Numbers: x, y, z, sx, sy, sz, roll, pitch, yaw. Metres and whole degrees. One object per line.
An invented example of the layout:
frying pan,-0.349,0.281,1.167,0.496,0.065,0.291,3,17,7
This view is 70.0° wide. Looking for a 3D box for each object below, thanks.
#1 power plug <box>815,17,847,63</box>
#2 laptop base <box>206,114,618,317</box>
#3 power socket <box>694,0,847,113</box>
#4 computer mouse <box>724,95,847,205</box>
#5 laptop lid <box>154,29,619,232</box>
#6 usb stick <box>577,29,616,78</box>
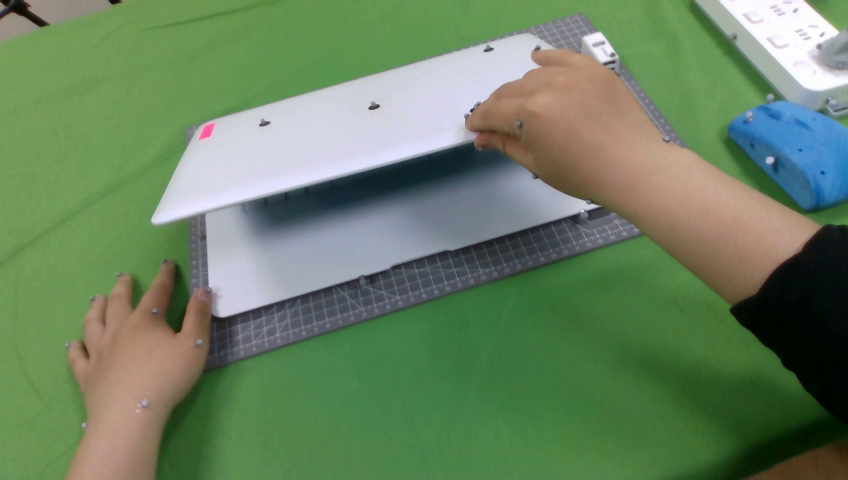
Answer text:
power plug,0.380,-0.171,0.526,0.072,0.053,0.035,-6,56,5
laptop base,-0.032,-0.072,0.566,0.354,0.023,0.233,-17,56,-2
power socket,0.338,-0.208,0.586,0.072,0.033,0.224,-16,53,-1
computer mouse,0.306,-0.081,0.497,0.063,0.041,0.116,-22,49,-3
laptop lid,-0.043,-0.112,0.526,0.357,0.013,0.239,-16,32,-1
usb stick,0.170,-0.191,0.606,0.021,0.027,0.058,-18,51,1
